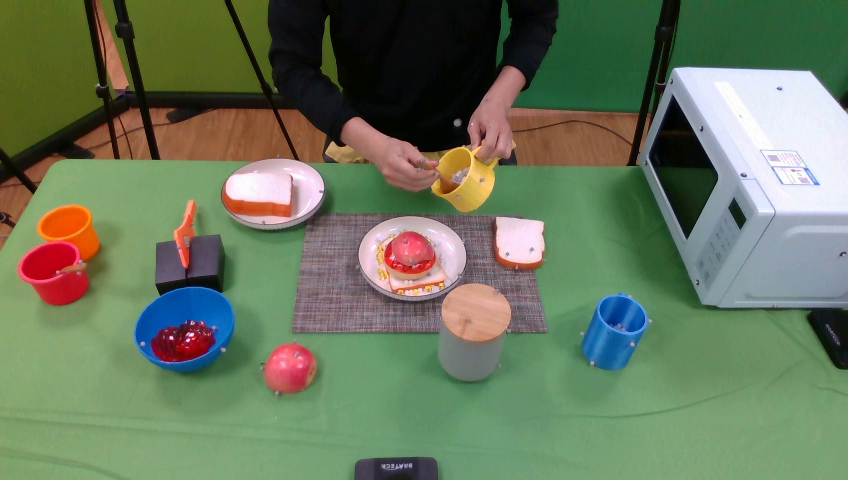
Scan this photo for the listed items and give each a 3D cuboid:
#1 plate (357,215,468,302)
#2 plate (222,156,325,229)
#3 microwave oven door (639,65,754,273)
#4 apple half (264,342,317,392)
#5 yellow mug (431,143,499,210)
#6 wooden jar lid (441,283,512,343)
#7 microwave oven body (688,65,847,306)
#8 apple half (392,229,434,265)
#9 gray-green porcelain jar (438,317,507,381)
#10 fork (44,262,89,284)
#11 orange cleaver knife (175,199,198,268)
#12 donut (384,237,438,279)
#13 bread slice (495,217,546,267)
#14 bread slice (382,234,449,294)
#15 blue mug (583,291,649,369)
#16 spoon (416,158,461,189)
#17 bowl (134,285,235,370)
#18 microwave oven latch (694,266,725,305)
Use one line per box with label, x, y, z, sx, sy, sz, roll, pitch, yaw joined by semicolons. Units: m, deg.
plate;-0.022;0.037;1.141;0.208;0.039;0.206;2;46;-2
plate;-0.308;-0.095;1.251;0.209;0.038;0.208;2;47;-2
microwave oven door;0.522;-0.147;1.193;0.039;0.245;0.353;0;47;-3
apple half;-0.214;0.198;0.970;0.074;0.053;0.080;19;48;10
yellow mug;0.080;-0.122;1.082;0.064;0.131;0.099;32;22;-39
wooden jar lid;0.080;0.114;0.931;0.108;0.021;0.107;1;49;-1
microwave oven body;0.669;-0.111;1.176;0.326;0.261;0.439;0;46;-3
apple half;-0.020;0.005;1.083;0.081;0.033;0.081;6;48;-7
gray-green porcelain jar;0.076;0.158;0.977;0.106;0.127;0.105;2;47;-2
fork;-0.598;0.054;1.014;0.207;0.019;0.028;-15;29;45
orange cleaver knife;-0.438;-0.017;1.138;0.012;0.077;0.210;-14;27;-6
donut;-0.025;0.029;1.110;0.099;0.048;0.098;2;46;-2
bread slice;0.194;0.002;1.205;0.105;0.019;0.131;5;45;3
bread slice;-0.026;0.042;1.144;0.107;0.018;0.133;-14;53;-14
blue mug;0.324;0.142;1.023;0.082;0.106;0.116;15;47;11
spoon;0.023;-0.113;1.028;0.041;0.194;0.021;-5;78;21
bowl;-0.377;0.155;0.981;0.151;0.077;0.150;2;46;-2
microwave oven latch;0.523;0.082;1.115;0.030;0.029;0.078;3;46;0
